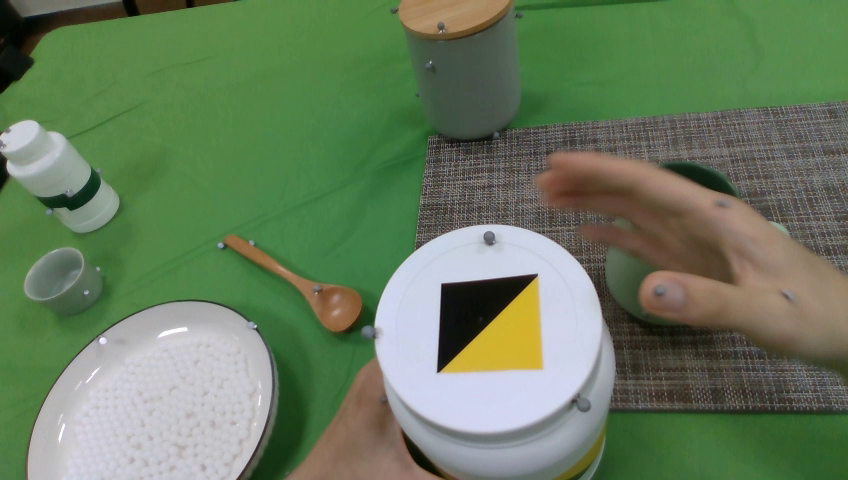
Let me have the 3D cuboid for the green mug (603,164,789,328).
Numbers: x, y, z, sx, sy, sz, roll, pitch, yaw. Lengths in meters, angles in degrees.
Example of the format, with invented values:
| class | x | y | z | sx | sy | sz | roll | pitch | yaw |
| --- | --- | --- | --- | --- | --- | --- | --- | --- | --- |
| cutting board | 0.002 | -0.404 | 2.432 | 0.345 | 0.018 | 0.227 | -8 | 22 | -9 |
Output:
| class | x | y | z | sx | sy | sz | roll | pitch | yaw |
| --- | --- | --- | --- | --- | --- | --- | --- | --- | --- |
| green mug | 0.200 | 0.008 | 0.452 | 0.125 | 0.106 | 0.092 | 5 | 55 | 17 |

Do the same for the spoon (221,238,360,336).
| class | x | y | z | sx | sy | sz | roll | pitch | yaw |
| --- | --- | --- | --- | --- | --- | --- | --- | --- | --- |
| spoon | -0.130 | 0.035 | 0.565 | 0.192 | 0.022 | 0.041 | 28 | 81 | 28 |

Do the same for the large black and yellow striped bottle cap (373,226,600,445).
| class | x | y | z | sx | sy | sz | roll | pitch | yaw |
| --- | --- | --- | --- | --- | --- | --- | --- | --- | --- |
| large black and yellow striped bottle cap | 0.031 | 0.044 | 0.308 | 0.115 | 0.019 | 0.114 | -6 | 58 | 9 |

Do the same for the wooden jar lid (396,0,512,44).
| class | x | y | z | sx | sy | sz | roll | pitch | yaw |
| --- | --- | --- | --- | --- | --- | --- | --- | --- | --- |
| wooden jar lid | 0.028 | -0.211 | 0.560 | 0.108 | 0.021 | 0.107 | -8 | 51 | 11 |

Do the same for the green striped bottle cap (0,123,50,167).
| class | x | y | z | sx | sy | sz | roll | pitch | yaw |
| --- | --- | --- | --- | --- | --- | --- | --- | --- | --- |
| green striped bottle cap | -0.391 | -0.093 | 0.592 | 0.044 | 0.020 | 0.044 | -4 | 55 | 7 |

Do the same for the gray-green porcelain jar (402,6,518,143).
| class | x | y | z | sx | sy | sz | roll | pitch | yaw |
| --- | --- | --- | --- | --- | --- | --- | --- | --- | --- |
| gray-green porcelain jar | 0.040 | -0.171 | 0.608 | 0.106 | 0.128 | 0.105 | -6 | 49 | 8 |

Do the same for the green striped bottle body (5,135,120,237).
| class | x | y | z | sx | sy | sz | roll | pitch | yaw |
| --- | --- | --- | --- | --- | --- | --- | --- | --- | --- |
| green striped bottle body | -0.381 | -0.062 | 0.632 | 0.063 | 0.120 | 0.062 | -7 | 53 | 9 |

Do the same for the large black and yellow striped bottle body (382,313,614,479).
| class | x | y | z | sx | sy | sz | roll | pitch | yaw |
| --- | --- | --- | --- | --- | --- | --- | --- | --- | --- |
| large black and yellow striped bottle body | 0.048 | 0.091 | 0.378 | 0.130 | 0.186 | 0.129 | -6 | 57 | 9 |

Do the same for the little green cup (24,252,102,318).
| class | x | y | z | sx | sy | sz | roll | pitch | yaw |
| --- | --- | --- | --- | --- | --- | --- | --- | --- | --- |
| little green cup | -0.354 | 0.046 | 0.599 | 0.061 | 0.039 | 0.061 | -6 | 52 | 9 |

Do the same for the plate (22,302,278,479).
| class | x | y | z | sx | sy | sz | roll | pitch | yaw |
| --- | --- | --- | --- | --- | --- | --- | --- | --- | --- |
| plate | -0.214 | 0.149 | 0.493 | 0.209 | 0.038 | 0.207 | -6 | 53 | 9 |
